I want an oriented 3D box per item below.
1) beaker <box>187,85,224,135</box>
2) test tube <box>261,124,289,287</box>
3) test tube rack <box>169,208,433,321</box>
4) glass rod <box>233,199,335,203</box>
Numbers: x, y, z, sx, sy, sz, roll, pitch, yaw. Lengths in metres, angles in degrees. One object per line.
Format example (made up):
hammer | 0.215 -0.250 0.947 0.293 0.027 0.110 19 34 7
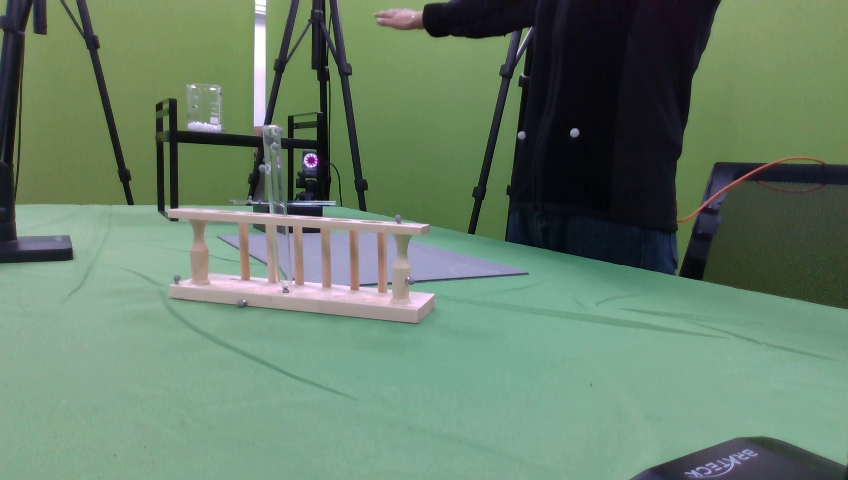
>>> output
beaker | -0.466 -0.275 1.286 0.074 0.100 0.084 5 8 22
test tube | -0.137 -0.030 0.557 0.017 0.150 0.017 -3 6 1
test tube rack | -0.115 0.018 0.574 0.242 0.085 0.067 4 8 13
glass rod | -0.264 -0.076 1.160 0.201 0.008 0.008 -2 9 -31
